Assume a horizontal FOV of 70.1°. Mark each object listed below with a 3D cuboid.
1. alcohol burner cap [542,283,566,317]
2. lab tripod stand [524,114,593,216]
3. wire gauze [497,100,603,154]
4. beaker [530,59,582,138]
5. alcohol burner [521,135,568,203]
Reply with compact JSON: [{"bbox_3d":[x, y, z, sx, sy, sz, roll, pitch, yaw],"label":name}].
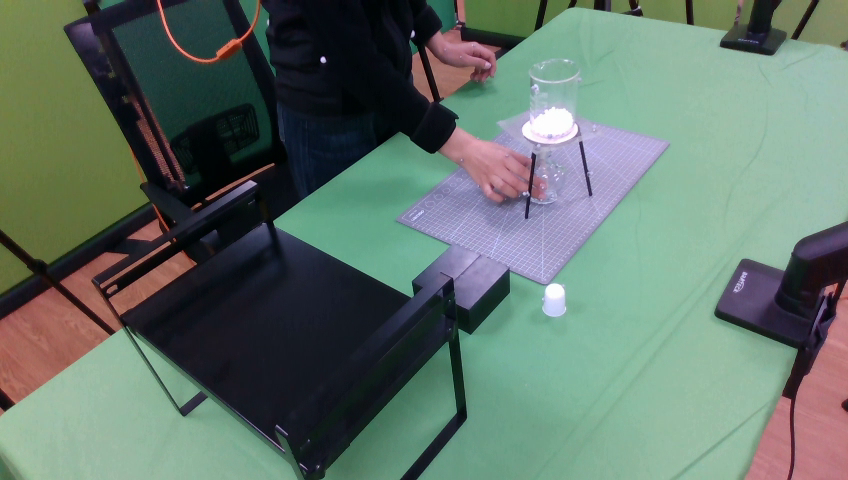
[{"bbox_3d":[0.181,0.081,0.839,0.034,0.048,0.033,-4,41,3],"label":"alcohol burner cap"},{"bbox_3d":[0.210,-0.127,1.001,0.148,0.132,0.147,-4,43,4],"label":"lab tripod stand"},{"bbox_3d":[0.199,-0.179,0.962,0.125,0.011,0.120,-21,42,-12],"label":"wire gauze"},{"bbox_3d":[0.198,-0.217,0.932,0.074,0.101,0.083,-22,43,-16],"label":"beaker"},{"bbox_3d":[0.201,-0.122,1.011,0.078,0.119,0.077,-5,41,5],"label":"alcohol burner"}]
